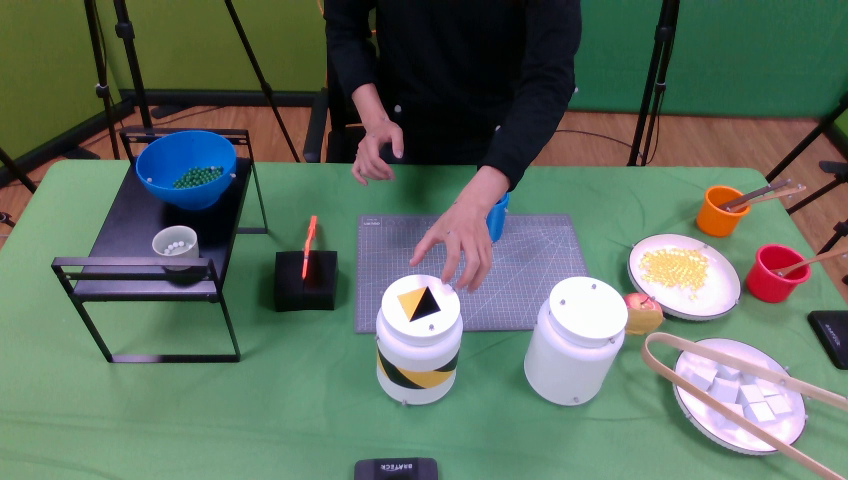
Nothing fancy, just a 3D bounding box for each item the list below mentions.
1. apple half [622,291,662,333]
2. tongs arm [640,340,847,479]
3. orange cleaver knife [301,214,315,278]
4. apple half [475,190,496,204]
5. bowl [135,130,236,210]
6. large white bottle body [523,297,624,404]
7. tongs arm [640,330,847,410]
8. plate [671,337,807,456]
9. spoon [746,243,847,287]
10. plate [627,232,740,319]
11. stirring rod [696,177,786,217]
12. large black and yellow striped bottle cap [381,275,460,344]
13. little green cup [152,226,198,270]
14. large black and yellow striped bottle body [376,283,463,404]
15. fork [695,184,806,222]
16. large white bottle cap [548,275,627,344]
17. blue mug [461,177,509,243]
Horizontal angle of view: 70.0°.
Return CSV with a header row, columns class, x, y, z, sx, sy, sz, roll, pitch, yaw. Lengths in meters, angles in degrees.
class,x,y,z,sx,sy,sz,roll,pitch,yaw
apple half,0.372,0.123,1.074,0.081,0.075,0.053,0,43,1
tongs arm,0.500,0.277,0.919,0.386,0.028,0.028,34,59,22
orange cleaver knife,-0.218,0.007,1.131,0.012,0.077,0.210,7,19,-9
apple half,0.110,-0.066,1.200,0.032,0.081,0.081,28,50,12
bowl,-0.375,-0.102,0.978,0.151,0.077,0.150,2,46,-2
large white bottle body,0.235,0.159,0.952,0.131,0.185,0.130,2,47,-2
tongs arm,0.543,0.225,0.969,0.384,0.026,0.050,22,52,13
plate,0.504,0.254,0.984,0.208,0.039,0.206,2,46,-2
spoon,0.702,0.044,1.126,0.194,0.022,0.041,-29,38,30
plate,0.489,0.070,1.156,0.209,0.038,0.208,3,46,-3
stirring rod,0.648,-0.087,1.244,0.176,0.006,0.014,-25,50,29
large black and yellow striped bottle cap,-0.005,0.098,0.874,0.115,0.019,0.114,2,45,-1
little green cup,-0.364,0.013,0.894,0.061,0.039,0.061,3,46,-3
large black and yellow striped bottle body,-0.010,0.155,0.937,0.131,0.185,0.130,2,47,-2
fork,0.658,-0.074,1.229,0.207,0.019,0.028,-24,34,36
large white bottle cap,0.240,0.100,0.890,0.115,0.018,0.114,3,47,-3
blue mug,0.114,-0.070,1.211,0.082,0.106,0.115,-12,48,-15
